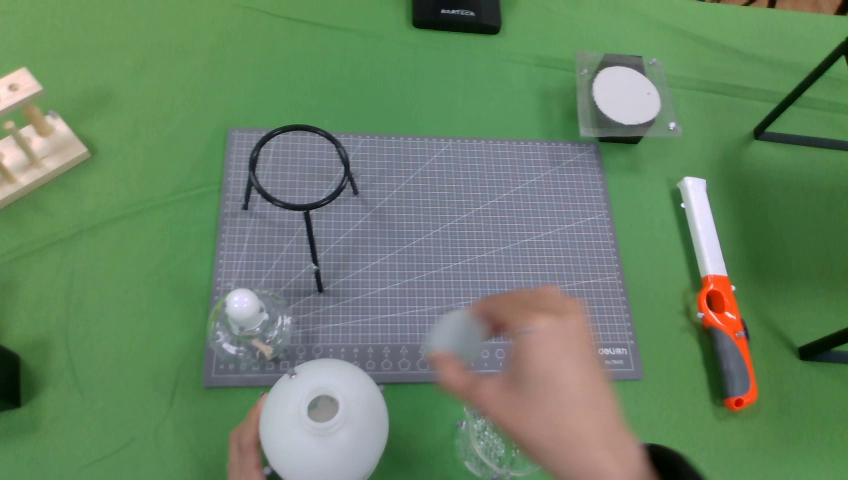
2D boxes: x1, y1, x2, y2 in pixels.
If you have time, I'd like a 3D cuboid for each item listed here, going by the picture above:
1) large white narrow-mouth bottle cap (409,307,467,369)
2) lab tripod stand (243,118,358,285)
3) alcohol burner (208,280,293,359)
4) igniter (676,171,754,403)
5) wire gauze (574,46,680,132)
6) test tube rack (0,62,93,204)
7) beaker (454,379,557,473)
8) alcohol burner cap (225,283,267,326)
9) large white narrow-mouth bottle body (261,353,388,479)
[{"bbox_3d":[0.008,0.064,0.395,0.038,0.024,0.037,3,65,-6],"label":"large white narrow-mouth bottle cap"},{"bbox_3d":[-0.118,-0.044,0.603,0.149,0.132,0.147,4,66,-8],"label":"lab tripod stand"},{"bbox_3d":[-0.161,0.068,0.558,0.078,0.120,0.077,4,64,-8],"label":"alcohol burner"},{"bbox_3d":[0.330,0.045,0.691,0.057,0.025,0.274,6,65,-17],"label":"igniter"},{"bbox_3d":[0.244,-0.183,0.737,0.122,0.011,0.124,3,67,-7],"label":"wire gauze"},{"bbox_3d":[-0.468,-0.068,0.591,0.242,0.085,0.066,-39,76,-22],"label":"test tube rack"},{"bbox_3d":[0.067,0.173,0.557,0.084,0.101,0.073,27,64,6],"label":"beaker"},{"bbox_3d":[-0.156,0.054,0.525,0.034,0.048,0.033,2,71,-6],"label":"alcohol burner cap"},{"bbox_3d":[-0.080,0.147,0.494,0.102,0.196,0.101,3,65,-6],"label":"large white narrow-mouth bottle body"}]
